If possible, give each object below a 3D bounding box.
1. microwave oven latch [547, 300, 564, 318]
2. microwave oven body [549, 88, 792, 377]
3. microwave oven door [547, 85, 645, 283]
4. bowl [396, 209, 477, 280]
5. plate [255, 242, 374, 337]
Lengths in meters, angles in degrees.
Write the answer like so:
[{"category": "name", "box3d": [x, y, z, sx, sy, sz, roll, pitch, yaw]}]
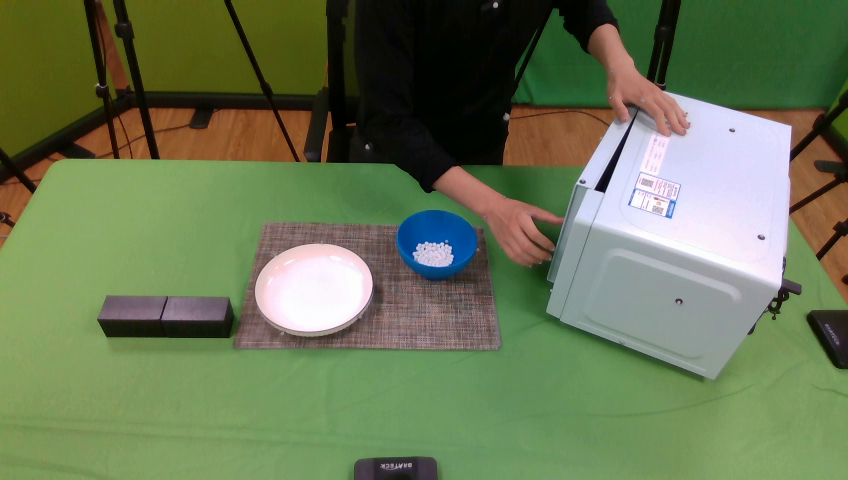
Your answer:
[{"category": "microwave oven latch", "box3d": [0.242, 0.102, 1.081, 0.030, 0.029, 0.079, 21, 48, 17]}, {"category": "microwave oven body", "box3d": [0.456, -0.028, 1.088, 0.325, 0.261, 0.440, 20, 47, 16]}, {"category": "microwave oven door", "box3d": [0.332, -0.111, 1.152, 0.039, 0.245, 0.355, 23, 49, 17]}, {"category": "bowl", "box3d": [0.021, 0.021, 1.133, 0.151, 0.077, 0.150, 2, 46, -2]}, {"category": "plate", "box3d": [-0.192, 0.090, 1.079, 0.208, 0.039, 0.206, 2, 46, -2]}]
